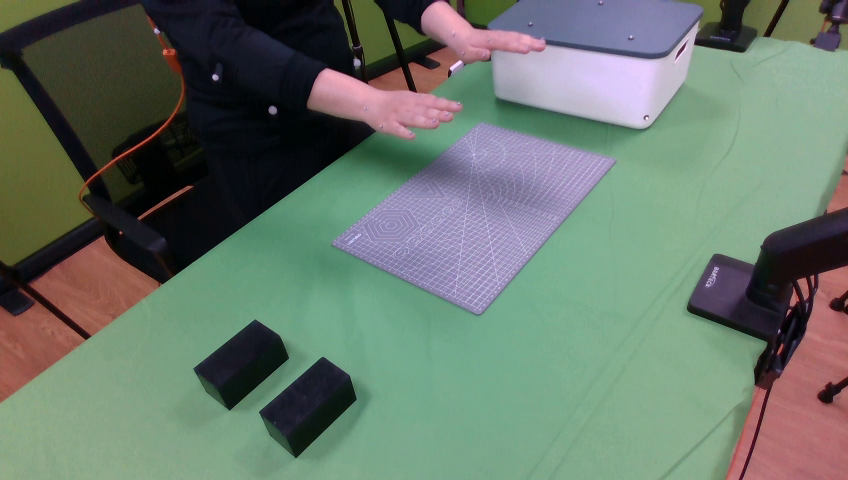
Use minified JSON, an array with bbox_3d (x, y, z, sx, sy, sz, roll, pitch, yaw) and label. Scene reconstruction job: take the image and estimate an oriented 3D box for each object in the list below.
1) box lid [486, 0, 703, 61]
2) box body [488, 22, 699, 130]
[{"bbox_3d":[0.338,-0.435,1.208,0.369,0.015,0.264,20,47,29],"label":"box lid"},{"bbox_3d":[0.345,-0.380,1.257,0.361,0.161,0.255,20,48,29],"label":"box body"}]
